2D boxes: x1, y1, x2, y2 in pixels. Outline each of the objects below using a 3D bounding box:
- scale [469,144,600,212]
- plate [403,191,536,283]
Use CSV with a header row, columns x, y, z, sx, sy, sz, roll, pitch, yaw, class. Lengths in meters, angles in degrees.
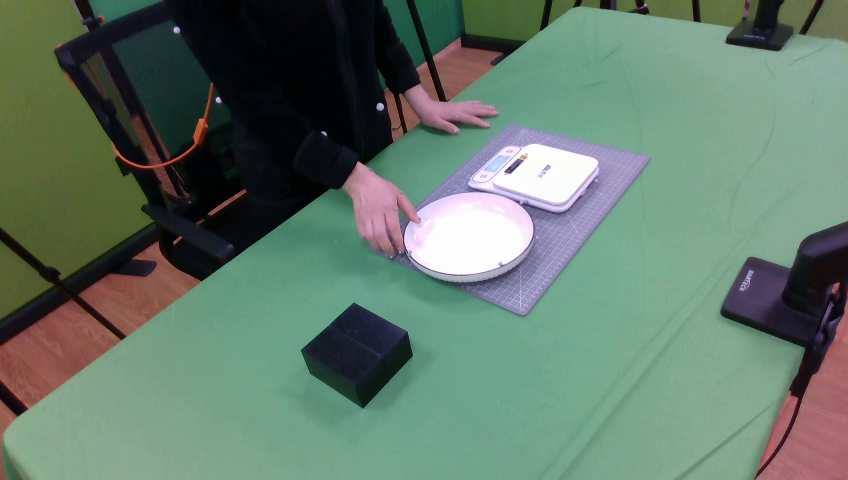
x,y,z,sx,sy,sz,roll,pitch,yaw,class
0.194,-0.117,1.075,0.199,0.032,0.149,21,48,32,scale
0.071,-0.003,0.959,0.209,0.038,0.208,-5,40,5,plate
